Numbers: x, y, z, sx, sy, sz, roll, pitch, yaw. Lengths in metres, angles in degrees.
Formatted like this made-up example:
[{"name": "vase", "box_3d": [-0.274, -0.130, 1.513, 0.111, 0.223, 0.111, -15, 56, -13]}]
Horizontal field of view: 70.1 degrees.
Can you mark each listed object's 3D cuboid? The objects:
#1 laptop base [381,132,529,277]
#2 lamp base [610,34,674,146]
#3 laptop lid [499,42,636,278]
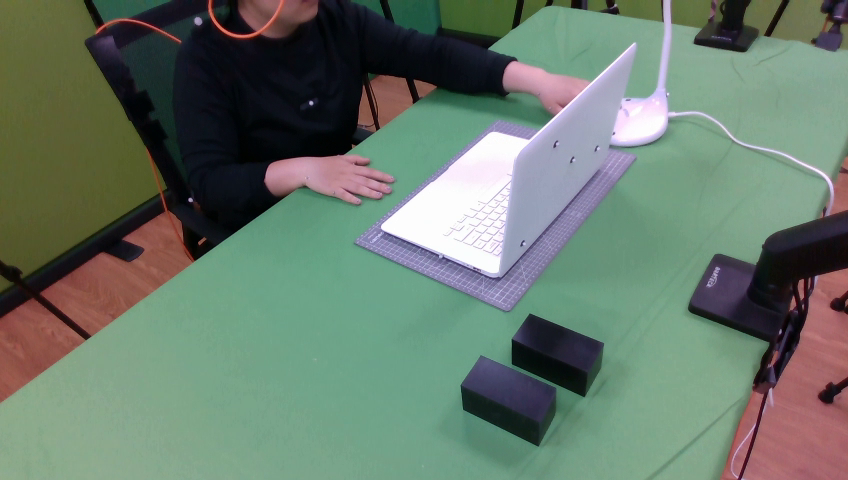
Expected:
[{"name": "laptop base", "box_3d": [0.122, -0.077, 1.043, 0.233, 0.023, 0.355, 20, 47, 33]}, {"name": "lamp base", "box_3d": [0.393, -0.291, 1.129, 0.180, 0.181, 0.159, -11, 41, -8]}, {"name": "laptop lid", "box_3d": [0.217, -0.121, 0.898, 0.013, 0.242, 0.358, 28, 50, 25]}]
